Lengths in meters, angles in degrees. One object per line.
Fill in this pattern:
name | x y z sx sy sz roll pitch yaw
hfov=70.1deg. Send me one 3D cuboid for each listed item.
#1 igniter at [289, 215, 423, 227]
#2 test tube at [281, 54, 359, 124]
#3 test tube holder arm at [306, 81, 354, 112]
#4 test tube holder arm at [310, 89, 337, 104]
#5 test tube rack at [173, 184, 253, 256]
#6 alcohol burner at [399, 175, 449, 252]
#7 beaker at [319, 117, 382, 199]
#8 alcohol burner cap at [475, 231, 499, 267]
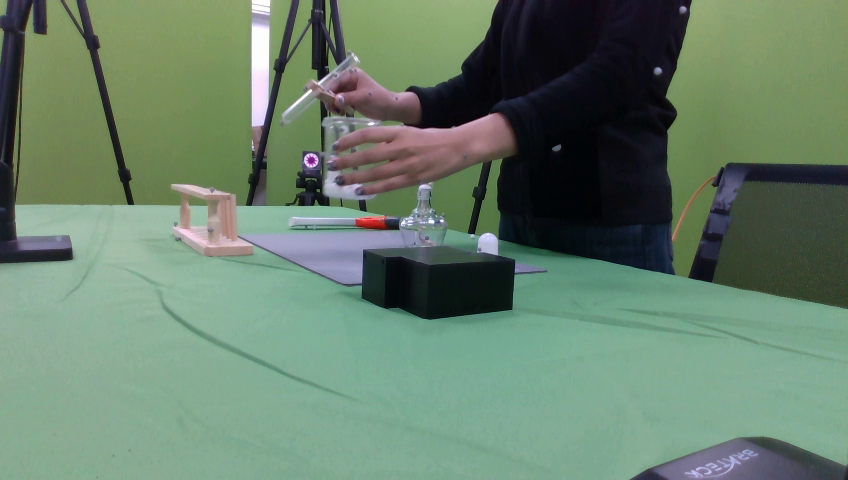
igniter | -0.133 -0.038 1.231 0.278 0.025 0.057 -1 -2 -25
test tube | -0.155 -0.221 0.894 0.150 0.017 0.017 -36 -4 16
test tube holder arm | -0.146 -0.226 0.963 0.015 0.013 0.179 -32 -4 11
test tube holder arm | -0.151 -0.218 0.918 0.015 0.010 0.088 -32 2 11
test tube rack | -0.329 -0.036 0.927 0.067 0.085 0.241 -2 9 -32
alcohol burner | 0.000 -0.041 0.937 0.078 0.119 0.078 0 7 0
beaker | -0.098 -0.104 0.775 0.084 0.100 0.074 6 8 19
alcohol burner cap | 0.088 0.012 0.830 0.034 0.048 0.034 2 7 0
